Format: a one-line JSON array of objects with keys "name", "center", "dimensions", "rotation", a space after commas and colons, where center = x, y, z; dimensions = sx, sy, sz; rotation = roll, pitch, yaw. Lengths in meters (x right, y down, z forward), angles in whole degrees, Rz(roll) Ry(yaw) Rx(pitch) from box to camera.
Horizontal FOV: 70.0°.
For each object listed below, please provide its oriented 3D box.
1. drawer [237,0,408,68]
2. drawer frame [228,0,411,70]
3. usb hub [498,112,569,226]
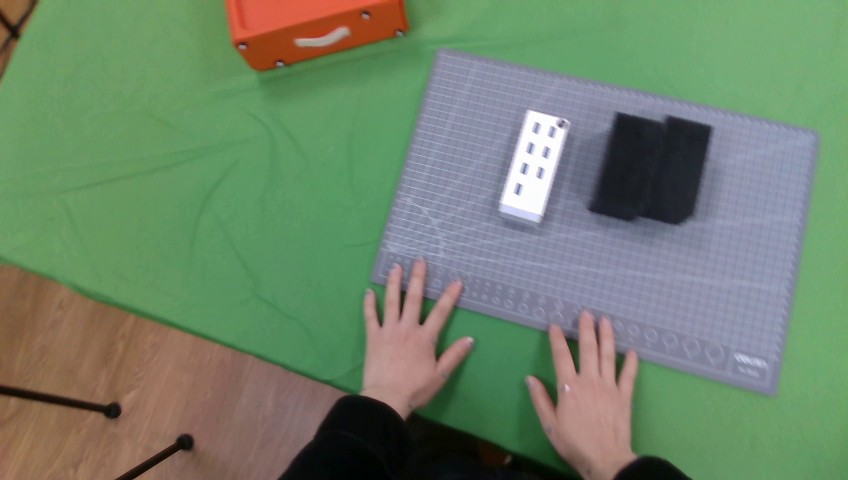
[{"name": "drawer", "center": [-0.137, -0.334, 0.736], "dimensions": [0.194, 0.073, 0.210], "rotation": [-13, 78, 3]}, {"name": "drawer frame", "center": [-0.137, -0.336, 0.734], "dimensions": [0.201, 0.083, 0.212], "rotation": [-14, 77, 2]}, {"name": "usb hub", "center": [0.124, -0.081, 0.690], "dimensions": [0.049, 0.025, 0.125], "rotation": [17, 81, 7]}]
